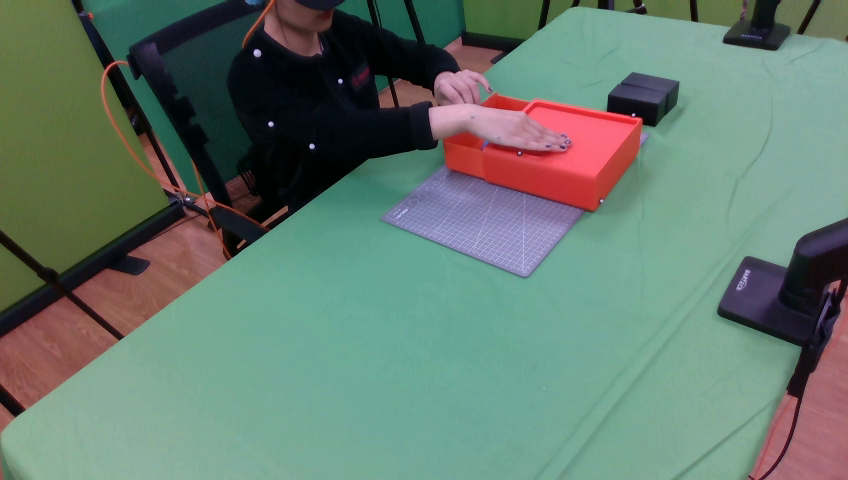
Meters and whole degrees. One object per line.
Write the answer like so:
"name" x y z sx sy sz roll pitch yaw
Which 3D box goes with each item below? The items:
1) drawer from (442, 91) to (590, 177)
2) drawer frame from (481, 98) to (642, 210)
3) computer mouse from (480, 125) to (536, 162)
"drawer" 0.173 -0.187 1.117 0.210 0.073 0.195 20 47 32
"drawer frame" 0.244 -0.160 1.073 0.212 0.083 0.202 20 47 29
"computer mouse" 0.160 -0.189 1.146 0.062 0.041 0.117 20 43 34
